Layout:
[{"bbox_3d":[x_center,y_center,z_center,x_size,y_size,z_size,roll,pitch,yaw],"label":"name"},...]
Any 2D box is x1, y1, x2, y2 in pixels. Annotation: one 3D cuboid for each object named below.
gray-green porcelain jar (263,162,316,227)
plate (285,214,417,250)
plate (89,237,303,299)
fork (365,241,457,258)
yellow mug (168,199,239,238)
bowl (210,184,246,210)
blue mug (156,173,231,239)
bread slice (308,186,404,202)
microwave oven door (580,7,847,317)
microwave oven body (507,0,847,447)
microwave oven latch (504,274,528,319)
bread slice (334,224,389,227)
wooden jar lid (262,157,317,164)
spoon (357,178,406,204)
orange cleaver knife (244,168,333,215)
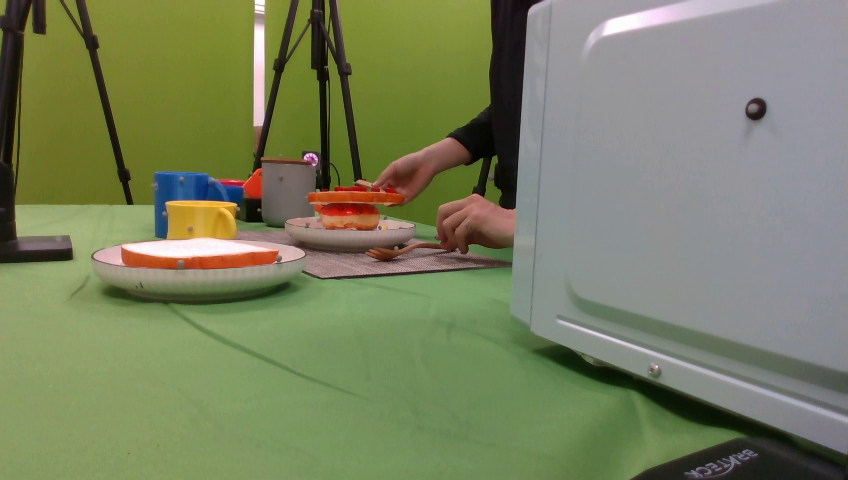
[{"bbox_3d":[-0.271,-0.092,1.217,0.106,0.126,0.106,2,7,0],"label":"gray-green porcelain jar"},{"bbox_3d":[-0.116,-0.014,0.964,0.209,0.038,0.209,2,8,0],"label":"plate"},{"bbox_3d":[-0.233,0.029,0.636,0.208,0.039,0.207,2,7,0],"label":"plate"},{"bbox_3d":[-0.012,0.012,0.880,0.028,0.018,0.208,10,10,36],"label":"fork"},{"bbox_3d":[-0.319,-0.023,0.904,0.130,0.064,0.100,9,11,36],"label":"yellow mug"},{"bbox_3d":[-0.422,-0.067,1.166,0.151,0.077,0.151,2,7,0],"label":"bowl"},{"bbox_3d":[-0.381,-0.057,1.004,0.117,0.106,0.082,0,8,-12],"label":"blue mug"},{"bbox_3d":[-0.114,-0.071,0.952,0.134,0.018,0.107,-1,1,21],"label":"bread slice"},{"bbox_3d":[0.295,-0.067,0.570,0.358,0.243,0.039,-3,9,-31],"label":"microwave oven door"},{"bbox_3d":[0.331,-0.042,0.425,0.444,0.260,0.324,-2,8,-31],"label":"microwave oven body"},{"bbox_3d":[0.100,0.041,0.470,0.079,0.029,0.030,-1,7,-27],"label":"microwave oven latch"},{"bbox_3d":[-0.103,-0.010,0.961,0.131,0.019,0.105,3,9,25],"label":"bread slice"},{"bbox_3d":[-0.269,-0.154,1.208,0.108,0.020,0.108,3,4,0],"label":"wooden jar lid"},{"bbox_3d":[-0.090,-0.103,1.197,0.042,0.022,0.192,-32,33,-18],"label":"spoon"},{"bbox_3d":[-0.300,-0.089,1.351,0.212,0.077,0.012,28,-9,-34],"label":"orange cleaver knife"}]
